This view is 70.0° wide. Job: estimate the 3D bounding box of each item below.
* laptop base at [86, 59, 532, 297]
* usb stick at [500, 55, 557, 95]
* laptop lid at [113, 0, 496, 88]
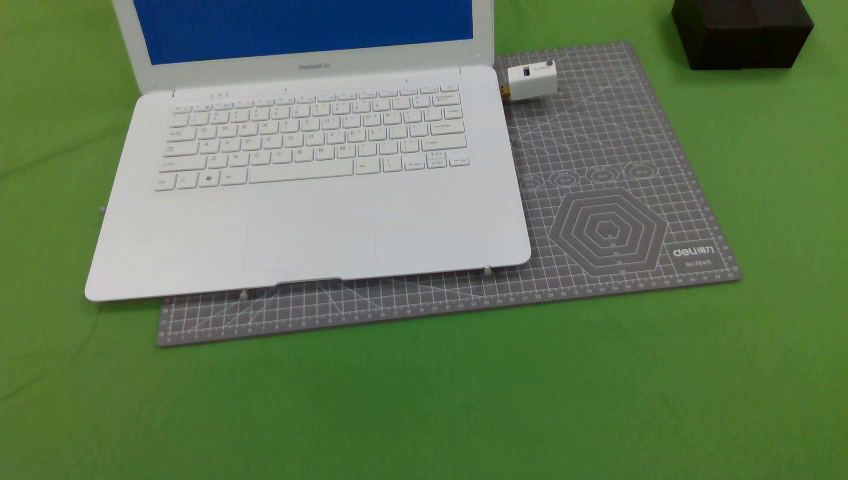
[{"bbox_3d":[-0.097,-0.064,0.538,0.354,0.023,0.233,-5,58,0],"label":"laptop base"},{"bbox_3d":[0.095,-0.154,0.571,0.059,0.027,0.021,-9,57,11],"label":"usb stick"},{"bbox_3d":[-0.113,-0.261,0.545,0.357,0.243,0.013,-6,30,0],"label":"laptop lid"}]
